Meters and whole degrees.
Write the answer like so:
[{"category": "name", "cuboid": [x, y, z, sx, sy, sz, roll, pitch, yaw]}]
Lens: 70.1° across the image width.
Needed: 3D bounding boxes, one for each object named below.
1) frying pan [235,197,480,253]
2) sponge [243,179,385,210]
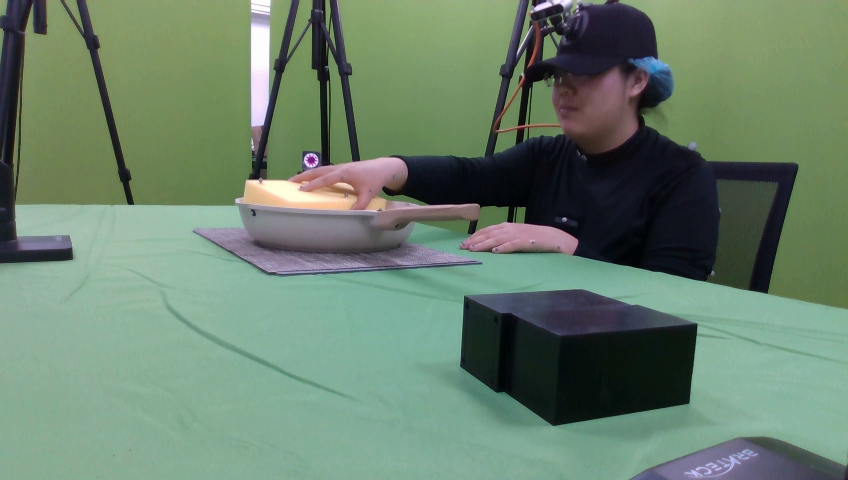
[{"category": "frying pan", "cuboid": [-0.090, -0.034, 0.891, 0.308, 0.102, 0.485, -4, 2, -36]}, {"category": "sponge", "cuboid": [-0.179, -0.056, 1.001, 0.117, 0.061, 0.208, 24, 19, 36]}]
